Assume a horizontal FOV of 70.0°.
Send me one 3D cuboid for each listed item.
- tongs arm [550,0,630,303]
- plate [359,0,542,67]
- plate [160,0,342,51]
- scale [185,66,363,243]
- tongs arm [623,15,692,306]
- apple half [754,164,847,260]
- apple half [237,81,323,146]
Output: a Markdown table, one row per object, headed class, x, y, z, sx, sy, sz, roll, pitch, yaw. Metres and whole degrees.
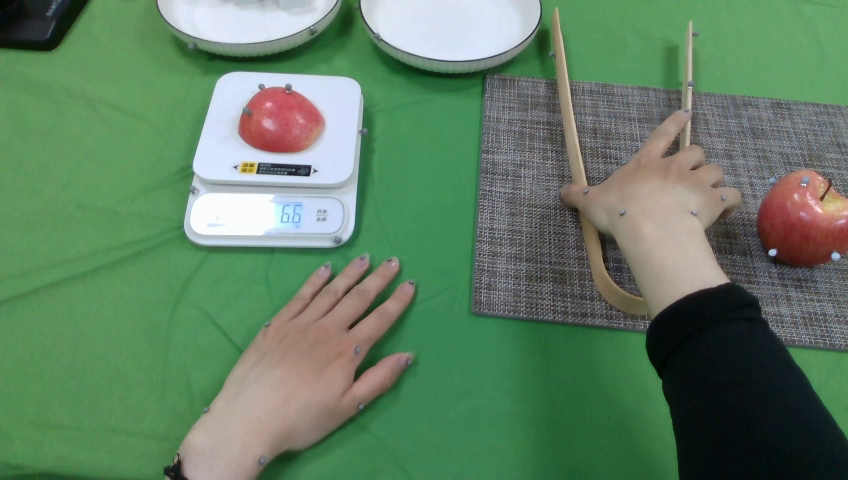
| class | x | y | z | sx | sy | sz | roll | pitch | yaw |
| --- | --- | --- | --- | --- | --- | --- | --- | --- | --- |
| tongs arm | 0.153 | -0.113 | 0.603 | 0.028 | 0.028 | 0.384 | 4 | 56 | -6 |
| plate | 0.030 | -0.267 | 0.701 | 0.209 | 0.038 | 0.207 | 1 | 56 | -2 |
| plate | -0.195 | -0.285 | 0.702 | 0.208 | 0.039 | 0.205 | 1 | 56 | -1 |
| scale | -0.137 | -0.087 | 0.576 | 0.149 | 0.032 | 0.199 | 1 | 57 | -2 |
| tongs arm | 0.236 | -0.101 | 0.598 | 0.051 | 0.027 | 0.382 | 14 | 57 | 5 |
| apple half | 0.320 | -0.018 | 0.522 | 0.053 | 0.075 | 0.080 | -28 | 65 | -15 |
| apple half | -0.134 | -0.125 | 0.565 | 0.081 | 0.033 | 0.080 | 1 | 56 | -1 |
